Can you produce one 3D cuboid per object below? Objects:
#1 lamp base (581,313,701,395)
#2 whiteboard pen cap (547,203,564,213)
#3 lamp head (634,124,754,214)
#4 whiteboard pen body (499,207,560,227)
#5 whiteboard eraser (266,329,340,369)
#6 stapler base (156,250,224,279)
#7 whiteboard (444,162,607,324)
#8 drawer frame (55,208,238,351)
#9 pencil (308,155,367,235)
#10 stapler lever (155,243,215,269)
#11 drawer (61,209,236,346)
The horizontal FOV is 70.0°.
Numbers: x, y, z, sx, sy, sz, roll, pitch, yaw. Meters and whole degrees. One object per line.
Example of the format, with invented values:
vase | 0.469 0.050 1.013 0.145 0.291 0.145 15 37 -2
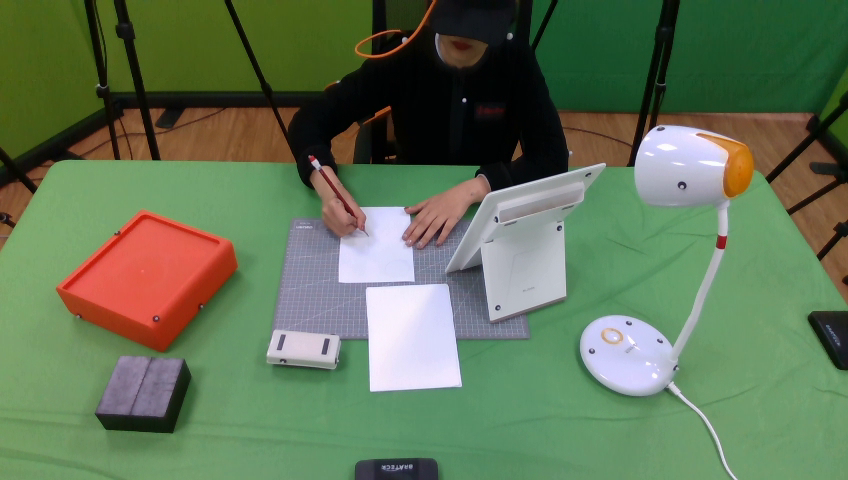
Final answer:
lamp base | 0.361 0.144 0.973 0.178 0.181 0.160 34 53 23
whiteboard pen cap | 0.277 -0.066 1.275 0.033 0.018 0.018 -18 50 -15
lamp head | 0.351 -0.089 0.776 0.112 0.113 0.122 -30 30 -28
whiteboard pen body | 0.222 -0.051 1.259 0.141 0.017 0.017 -15 49 -16
whiteboard eraser | -0.198 0.181 0.994 0.113 0.042 0.055 5 45 1
stapler base | -0.431 0.040 1.111 0.130 0.024 0.041 11 38 17
whiteboard | 0.186 0.025 1.029 0.217 0.306 0.143 -15 68 -18
drawer frame | -0.474 0.062 1.060 0.201 0.083 0.213 18 48 12
pencil | -0.164 -0.083 1.170 0.012 0.195 0.012 -29 22 13
stapler lever | -0.433 0.023 1.097 0.118 0.040 0.026 14 39 14
drawer | -0.474 0.061 1.063 0.194 0.073 0.211 19 48 13
